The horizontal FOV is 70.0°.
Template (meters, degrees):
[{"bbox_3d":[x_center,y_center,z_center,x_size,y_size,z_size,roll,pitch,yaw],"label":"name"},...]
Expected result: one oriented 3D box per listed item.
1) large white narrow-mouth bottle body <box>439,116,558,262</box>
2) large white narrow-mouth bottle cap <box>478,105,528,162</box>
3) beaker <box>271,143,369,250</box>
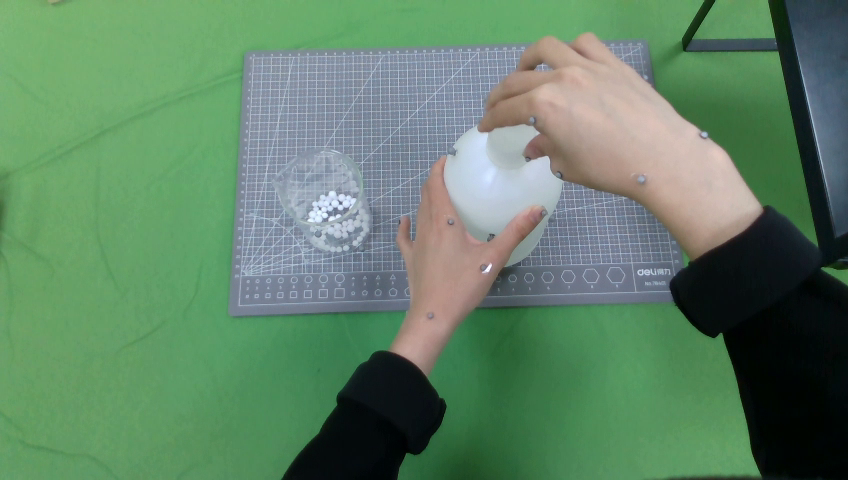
[{"bbox_3d":[0.064,-0.050,0.528,0.102,0.196,0.101,-1,73,3],"label":"large white narrow-mouth bottle body"},{"bbox_3d":[0.058,-0.077,0.444,0.038,0.024,0.037,-1,73,3],"label":"large white narrow-mouth bottle cap"},{"bbox_3d":[-0.093,-0.036,0.573,0.084,0.101,0.073,9,72,4],"label":"beaker"}]
